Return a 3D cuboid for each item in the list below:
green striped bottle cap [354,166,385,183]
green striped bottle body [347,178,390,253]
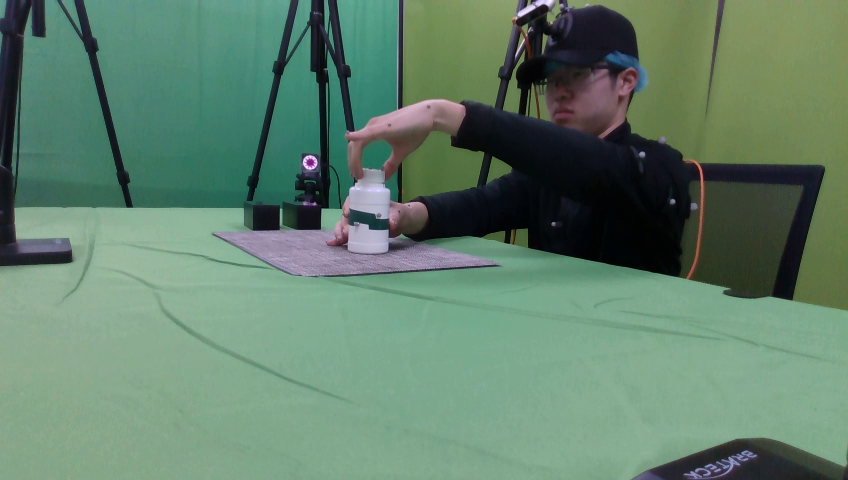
[{"bbox_3d":[-0.081,-0.098,0.905,0.044,0.020,0.044,7,6,0],"label":"green striped bottle cap"},{"bbox_3d":[-0.083,-0.042,0.913,0.063,0.119,0.063,2,8,0],"label":"green striped bottle body"}]
